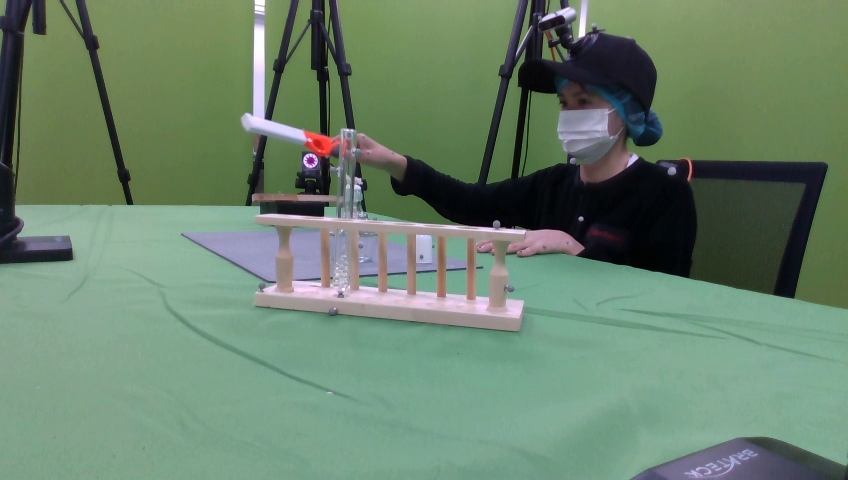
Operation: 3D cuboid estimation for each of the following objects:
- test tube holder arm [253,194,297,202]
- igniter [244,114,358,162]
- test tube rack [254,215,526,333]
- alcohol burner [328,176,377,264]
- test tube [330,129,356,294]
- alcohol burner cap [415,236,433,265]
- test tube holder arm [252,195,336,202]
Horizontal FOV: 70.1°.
[{"bbox_3d":[-0.293,-0.083,1.193,0.088,0.015,0.010,-2,-1,-37],"label":"test tube holder arm"},{"bbox_3d":[-0.223,-0.191,1.154,0.025,0.057,0.278,-35,-23,27],"label":"igniter"},{"bbox_3d":[-0.030,0.025,0.558,0.242,0.085,0.067,4,7,12],"label":"test tube rack"},{"bbox_3d":[-0.098,-0.028,0.819,0.078,0.119,0.078,1,8,0],"label":"alcohol burner"},{"bbox_3d":[-0.074,-0.025,0.548,0.017,0.150,0.017,4,6,0],"label":"test tube"},{"bbox_3d":[-0.004,0.011,0.835,0.034,0.048,0.034,2,7,0],"label":"alcohol burner cap"},{"bbox_3d":[-0.260,-0.084,1.225,0.179,0.015,0.013,-2,-1,-37],"label":"test tube holder arm"}]
